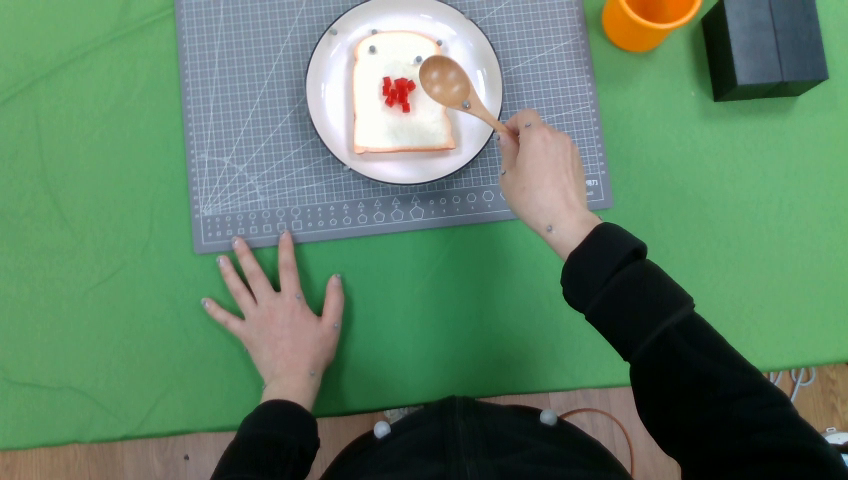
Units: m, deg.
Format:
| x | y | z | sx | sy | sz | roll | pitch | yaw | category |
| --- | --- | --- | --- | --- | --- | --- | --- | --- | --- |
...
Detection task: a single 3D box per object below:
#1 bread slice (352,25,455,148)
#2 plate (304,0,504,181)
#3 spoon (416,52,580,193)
| x | y | z | sx | sy | sz | roll | pitch | yaw | category |
| --- | --- | --- | --- | --- | --- | --- | --- | --- | --- |
| -0.028 | -0.162 | 0.647 | 0.107 | 0.018 | 0.134 | -6 | 84 | -4 | bread slice |
| -0.020 | -0.162 | 0.646 | 0.209 | 0.038 | 0.208 | 0 | 83 | -2 | plate |
| 0.069 | -0.107 | 0.565 | 0.193 | 0.022 | 0.041 | 42 | 85 | 10 | spoon |
